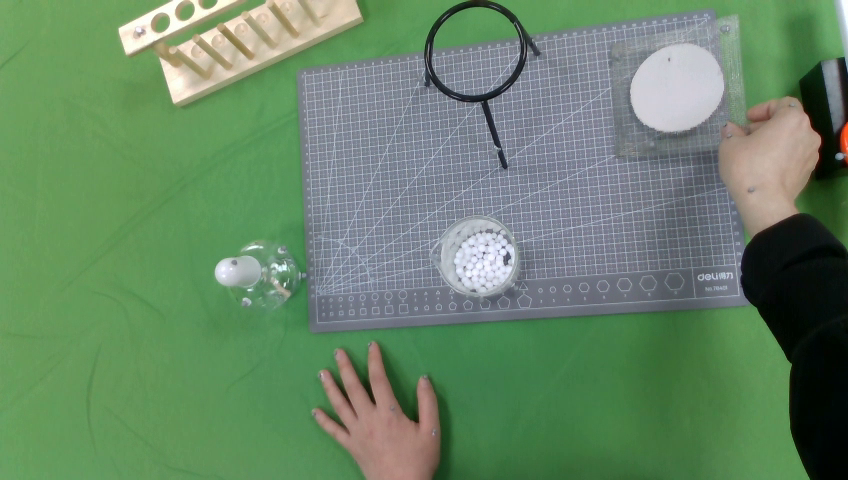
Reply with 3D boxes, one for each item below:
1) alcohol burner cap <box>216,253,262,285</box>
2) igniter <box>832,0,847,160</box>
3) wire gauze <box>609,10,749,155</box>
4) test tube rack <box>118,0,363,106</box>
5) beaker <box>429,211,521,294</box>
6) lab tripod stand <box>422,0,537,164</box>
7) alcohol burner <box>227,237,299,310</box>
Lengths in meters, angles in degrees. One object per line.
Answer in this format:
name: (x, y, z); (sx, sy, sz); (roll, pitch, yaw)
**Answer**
alcohol burner cap: (-0.184, 0.029, 0.591); (0.034, 0.048, 0.034); (0, 88, 10)
igniter: (0.389, -0.116, 0.526); (0.057, 0.025, 0.275); (-6, 81, 13)
wire gauze: (0.244, -0.149, 0.592); (0.124, 0.011, 0.121); (-3, 90, 33)
test tube rack: (-0.199, -0.238, 0.669); (0.242, 0.085, 0.066); (-22, 80, 8)
beaker: (0.054, 0.017, 0.587); (0.084, 0.101, 0.074); (1, 84, 12)
lab tripod stand: (0.057, -0.157, 0.584); (0.148, 0.132, 0.148); (-1, 85, 9)
alcohol burner: (-0.176, 0.033, 0.626); (0.078, 0.119, 0.077); (-1, 82, 10)
